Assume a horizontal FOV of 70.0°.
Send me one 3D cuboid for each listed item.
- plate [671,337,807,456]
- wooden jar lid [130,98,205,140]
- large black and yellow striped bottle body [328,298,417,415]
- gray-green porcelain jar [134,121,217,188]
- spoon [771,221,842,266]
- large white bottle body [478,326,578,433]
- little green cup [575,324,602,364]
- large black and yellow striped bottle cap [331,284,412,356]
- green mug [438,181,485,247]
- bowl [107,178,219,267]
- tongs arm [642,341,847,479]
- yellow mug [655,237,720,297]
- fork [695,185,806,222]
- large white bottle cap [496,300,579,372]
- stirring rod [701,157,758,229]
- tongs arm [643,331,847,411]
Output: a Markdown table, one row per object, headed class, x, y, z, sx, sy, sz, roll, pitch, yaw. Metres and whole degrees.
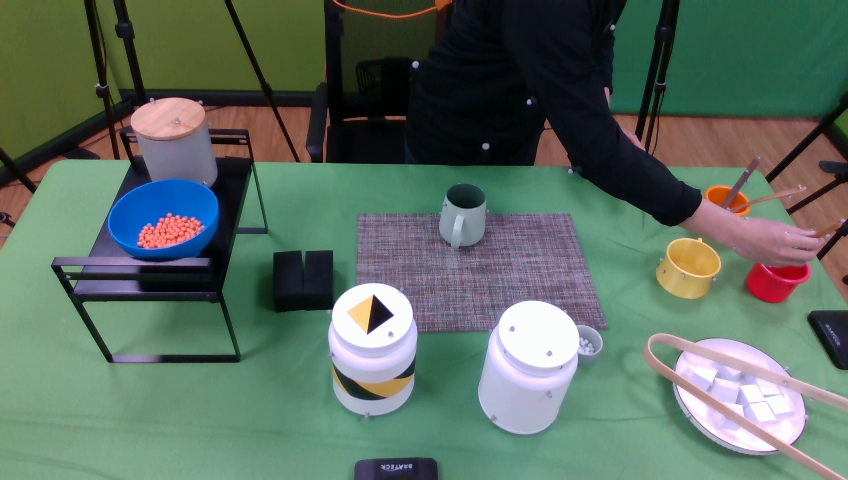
| class | x | y | z | sx | sy | sz | roll | pitch | yaw |
| --- | --- | --- | --- | --- | --- | --- | --- | --- | --- |
| plate | 0.503 | 0.254 | 0.984 | 0.208 | 0.039 | 0.206 | 2 | 46 | -2 |
| wooden jar lid | -0.393 | -0.183 | 0.934 | 0.108 | 0.021 | 0.107 | 3 | 44 | -2 |
| large black and yellow striped bottle body | -0.078 | 0.167 | 0.920 | 0.131 | 0.185 | 0.130 | 2 | 46 | -2 |
| gray-green porcelain jar | -0.397 | -0.141 | 0.980 | 0.106 | 0.127 | 0.105 | 2 | 47 | -2 |
| spoon | 0.647 | 0.007 | 1.031 | 0.041 | 0.194 | 0.021 | -30 | 68 | -8 |
| large white bottle body | 0.156 | 0.192 | 0.913 | 0.131 | 0.185 | 0.130 | 2 | 46 | -2 |
| little green cup | 0.269 | 0.179 | 1.035 | 0.061 | 0.039 | 0.061 | 3 | 46 | -3 |
| large black and yellow striped bottle cap | -0.073 | 0.111 | 0.858 | 0.115 | 0.019 | 0.114 | 2 | 46 | -2 |
| green mug | 0.071 | -0.039 | 1.177 | 0.092 | 0.105 | 0.124 | 12 | 47 | 7 |
| bowl | -0.374 | -0.014 | 0.893 | 0.151 | 0.077 | 0.150 | 2 | 46 | -2 |
| tongs arm | 0.504 | 0.278 | 0.918 | 0.386 | 0.028 | 0.028 | 34 | 59 | 22 |
| yellow mug | 0.509 | 0.041 | 1.167 | 0.099 | 0.064 | 0.130 | 24 | 48 | 19 |
| fork | 0.658 | -0.074 | 1.229 | 0.207 | 0.019 | 0.028 | -23 | 36 | 37 |
| large white bottle cap | 0.160 | 0.133 | 0.852 | 0.115 | 0.018 | 0.114 | 3 | 46 | -2 |
| stirring rod | 0.634 | -0.096 | 1.257 | 0.014 | 0.006 | 0.176 | 38 | 97 | 29 |
| tongs arm | 0.546 | 0.227 | 0.968 | 0.384 | 0.026 | 0.050 | 22 | 52 | 13 |
